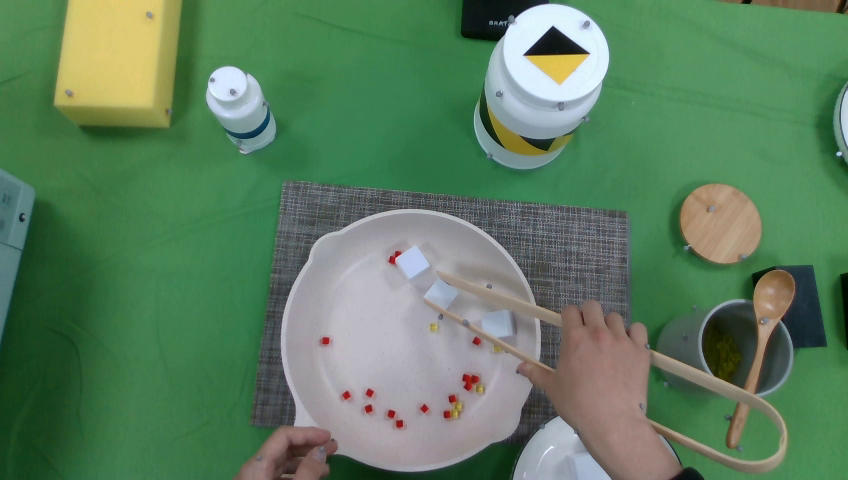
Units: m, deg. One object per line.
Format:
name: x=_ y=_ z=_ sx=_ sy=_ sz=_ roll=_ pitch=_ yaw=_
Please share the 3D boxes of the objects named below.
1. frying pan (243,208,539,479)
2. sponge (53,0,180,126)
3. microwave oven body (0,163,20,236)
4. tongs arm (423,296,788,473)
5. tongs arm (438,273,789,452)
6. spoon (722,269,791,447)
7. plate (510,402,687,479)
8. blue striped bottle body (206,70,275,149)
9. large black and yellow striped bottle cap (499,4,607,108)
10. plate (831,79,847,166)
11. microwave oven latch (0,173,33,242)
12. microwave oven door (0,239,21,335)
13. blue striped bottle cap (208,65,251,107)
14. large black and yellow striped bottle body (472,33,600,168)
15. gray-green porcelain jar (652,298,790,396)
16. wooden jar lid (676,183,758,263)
frying pan: x=-0.089 y=0.176 z=0.671 sx=0.487 sy=0.103 sz=0.306 roll=-42 pitch=82 yaw=-20
sponge: x=-0.387 y=-0.255 z=0.774 sx=0.118 sy=0.061 sz=0.206 roll=0 pitch=78 yaw=-4
microwave oven body: x=-0.643 y=0.095 z=0.571 sx=0.326 sy=0.261 sz=0.439 roll=6 pitch=77 yaw=-3
tongs arm: x=0.146 y=0.120 z=0.600 sx=0.381 sy=0.027 sz=0.050 roll=27 pitch=69 yaw=41
tongs arm: x=0.159 y=0.102 z=0.607 sx=0.384 sy=0.028 sz=0.028 roll=21 pitch=62 yaw=39
spoon: x=0.343 y=0.122 z=0.632 sx=0.041 sy=0.021 sz=0.193 roll=21 pitch=80 yaw=-2
plate: x=0.198 y=0.292 z=0.699 sx=0.208 sy=0.039 sz=0.206 roll=1 pitch=79 yaw=-4
blue striped bottle body: x=-0.222 y=-0.162 z=0.733 sx=0.063 sy=0.121 sz=0.063 roll=1 pitch=76 yaw=-3
large black and yellow striped bottle cap: x=0.138 y=-0.198 z=0.647 sx=0.115 sy=0.019 sz=0.114 roll=1 pitch=78 yaw=-3
plate: x=0.656 y=-0.149 z=0.830 sx=0.209 sy=0.038 sz=0.208 roll=1 pitch=77 yaw=-3
microwave oven latch: x=-0.486 y=-0.039 z=0.711 sx=0.030 sy=0.029 sz=0.079 roll=8 pitch=77 yaw=-2
microwave oven door: x=-0.501 y=0.150 z=0.563 sx=0.039 sy=0.244 sz=0.354 roll=5 pitch=76 yaw=-2
blue striped bottle cap: x=-0.220 y=-0.175 z=0.684 sx=0.044 sy=0.021 sz=0.044 roll=1 pitch=79 yaw=-4
large black and yellow striped bottle body: x=0.132 y=-0.177 z=0.729 sx=0.131 sy=0.184 sz=0.130 roll=1 pitch=76 yaw=-3
gray-green porcelain jar: x=0.334 y=0.127 z=0.702 sx=0.106 sy=0.127 sz=0.105 roll=1 pitch=77 yaw=-3
wooden jar lid: x=0.381 y=-0.022 z=0.794 sx=0.108 sy=0.021 sz=0.108 roll=1 pitch=79 yaw=-3
